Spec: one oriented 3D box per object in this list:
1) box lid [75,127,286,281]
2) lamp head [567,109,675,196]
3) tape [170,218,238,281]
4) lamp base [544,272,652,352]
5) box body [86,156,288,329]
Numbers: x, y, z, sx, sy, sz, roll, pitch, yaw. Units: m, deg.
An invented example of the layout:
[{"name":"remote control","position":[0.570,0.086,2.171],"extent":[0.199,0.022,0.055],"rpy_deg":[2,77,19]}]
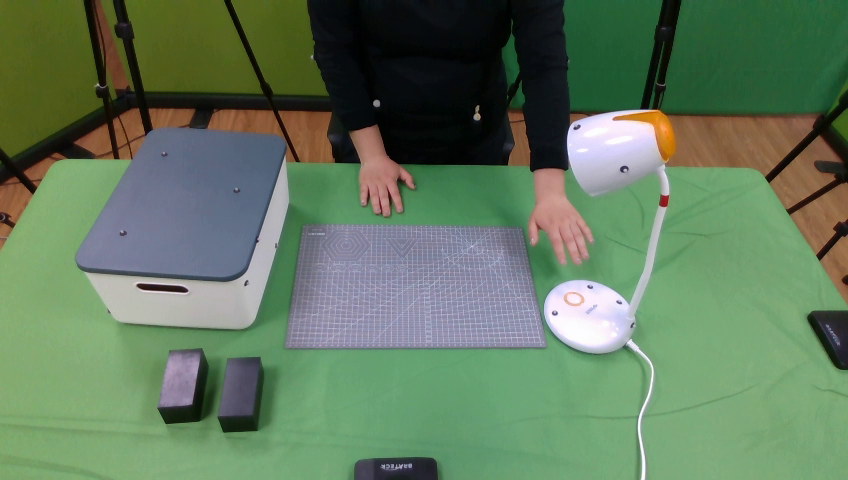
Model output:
[{"name":"box lid","position":[-0.398,-0.075,1.039],"extent":[0.263,0.015,0.369],"rpy_deg":[4,45,-1]},{"name":"lamp head","position":[0.272,-0.123,0.818],"extent":[0.122,0.113,0.112],"rpy_deg":[-9,35,37]},{"name":"tape","position":[-0.406,0.017,1.121],"extent":[0.117,0.053,0.116],"rpy_deg":[2,46,-2]},{"name":"lamp base","position":[0.309,0.086,1.029],"extent":[0.178,0.181,0.160],"rpy_deg":[32,52,21]},{"name":"box body","position":[-0.401,-0.025,1.094],"extent":[0.254,0.161,0.362],"rpy_deg":[3,46,-1]}]
